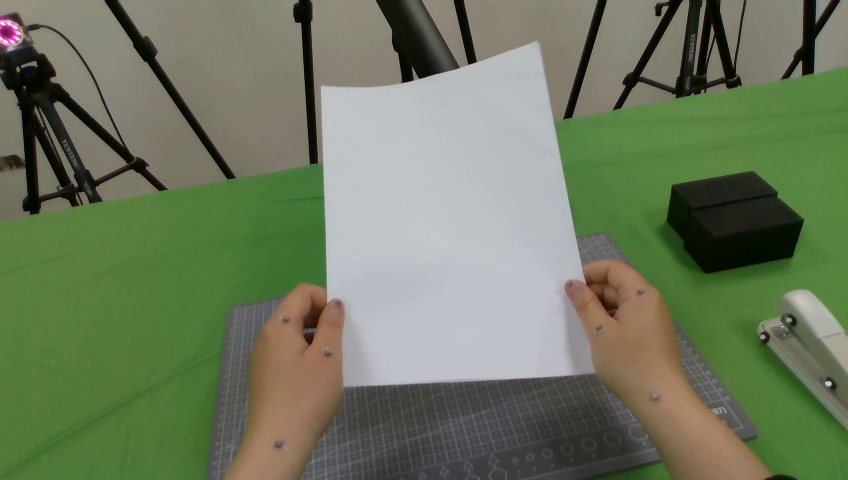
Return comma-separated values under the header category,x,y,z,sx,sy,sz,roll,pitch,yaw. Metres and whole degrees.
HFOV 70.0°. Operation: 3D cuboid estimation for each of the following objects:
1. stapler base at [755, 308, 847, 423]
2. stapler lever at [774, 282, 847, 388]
category,x,y,z,sx,sy,sz,roll,pitch,yaw
stapler base,0.345,0.100,0.527,0.041,0.025,0.129,-14,39,-5
stapler lever,0.343,0.082,0.511,0.027,0.040,0.116,-14,38,-5
